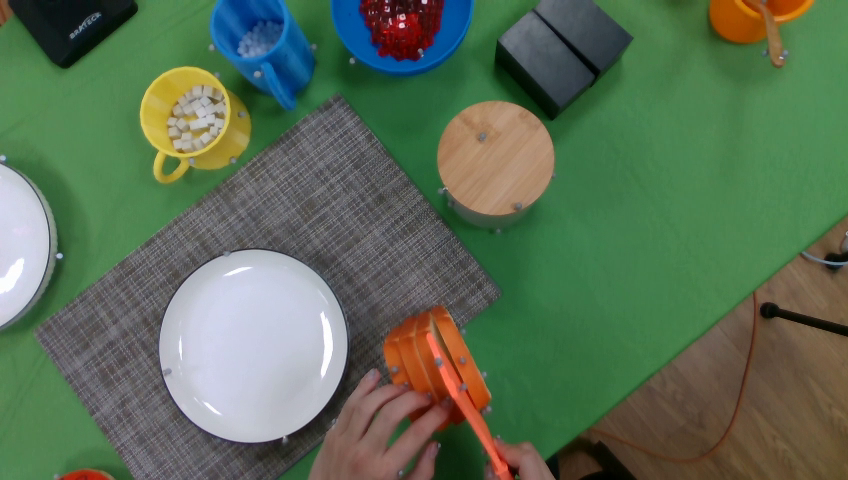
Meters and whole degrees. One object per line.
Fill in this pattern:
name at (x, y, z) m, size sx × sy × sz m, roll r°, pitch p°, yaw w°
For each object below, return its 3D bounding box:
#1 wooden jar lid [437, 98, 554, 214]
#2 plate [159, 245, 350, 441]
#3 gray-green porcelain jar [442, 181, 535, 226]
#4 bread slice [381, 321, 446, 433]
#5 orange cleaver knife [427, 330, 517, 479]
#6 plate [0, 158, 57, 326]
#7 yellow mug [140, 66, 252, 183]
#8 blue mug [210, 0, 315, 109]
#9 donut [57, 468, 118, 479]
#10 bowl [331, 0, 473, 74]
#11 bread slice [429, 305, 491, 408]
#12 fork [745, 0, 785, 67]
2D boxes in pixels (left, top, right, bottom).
wooden jar lid at (0.066, -0.077, 0.562) m, size 0.108 × 0.021 × 0.108 m, roll 0°, pitch 85°, yaw 1°
plate at (-0.182, 0.111, 0.664) m, size 0.209 × 0.038 × 0.208 m, roll 0°, pitch 85°, yaw 3°
gray-green porcelain jar at (0.071, -0.071, 0.624) m, size 0.106 × 0.127 × 0.105 m, roll 0°, pitch 85°, yaw 3°
bread slice at (-0.010, 0.135, 0.610) m, size 0.018 × 0.134 × 0.106 m, roll -26°, pitch 83°, yaw 5°
orange cleaver knife at (0.052, 0.169, 0.549) m, size 0.012 × 0.076 × 0.213 m, roll -27°, pitch 117°, yaw 3°
plate at (-0.517, 0.004, 0.695) m, size 0.207 × 0.039 × 0.207 m, roll 0°, pitch 86°, yaw 3°
yellow mug at (-0.260, -0.122, 0.676) m, size 0.100 × 0.064 × 0.131 m, roll 29°, pitch 89°, yaw 6°
blue mug at (-0.166, -0.199, 0.658) m, size 0.082 × 0.106 × 0.116 m, roll -19°, pitch 84°, yaw 2°
donut at (-0.370, 0.299, 0.661) m, size 0.099 × 0.048 × 0.099 m, roll 0°, pitch 84°, yaw 1°
bowl at (-0.020, -0.246, 0.667) m, size 0.151 × 0.077 × 0.151 m, roll 0°, pitch 86°, yaw 3°
bread slice at (0.036, 0.115, 0.607) m, size 0.019 × 0.131 × 0.105 m, roll -26°, pitch 89°, yaw -3°
fork at (0.341, -0.226, 0.609) m, size 0.028 × 0.019 × 0.206 m, roll 23°, pitch 43°, yaw -2°
